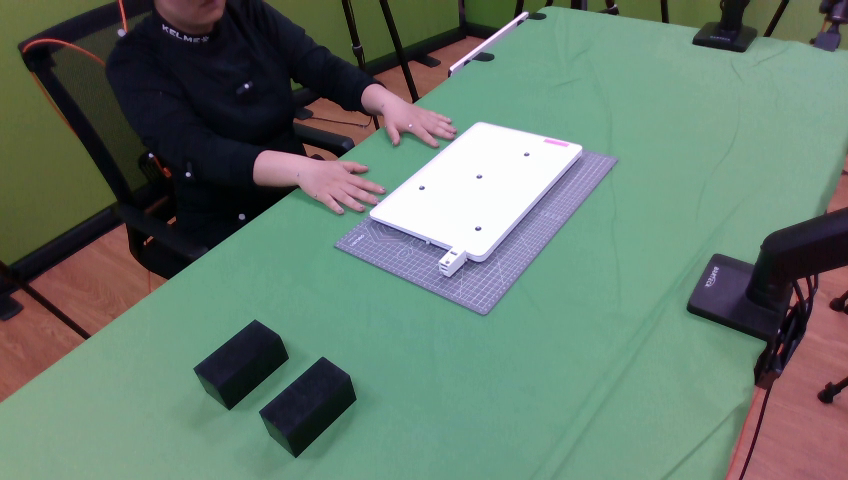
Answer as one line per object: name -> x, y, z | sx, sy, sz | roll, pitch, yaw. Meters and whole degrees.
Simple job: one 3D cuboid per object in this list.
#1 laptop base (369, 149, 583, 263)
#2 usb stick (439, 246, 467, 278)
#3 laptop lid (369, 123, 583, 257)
laptop base -> 0.101, -0.097, 1.071 | 0.233, 0.023, 0.355 | 19, 47, 32
usb stick -> 0.048, 0.028, 0.913 | 0.021, 0.027, 0.059 | 23, 47, 31
laptop lid -> 0.098, -0.106, 1.065 | 0.240, 0.013, 0.358 | 22, 48, 33
